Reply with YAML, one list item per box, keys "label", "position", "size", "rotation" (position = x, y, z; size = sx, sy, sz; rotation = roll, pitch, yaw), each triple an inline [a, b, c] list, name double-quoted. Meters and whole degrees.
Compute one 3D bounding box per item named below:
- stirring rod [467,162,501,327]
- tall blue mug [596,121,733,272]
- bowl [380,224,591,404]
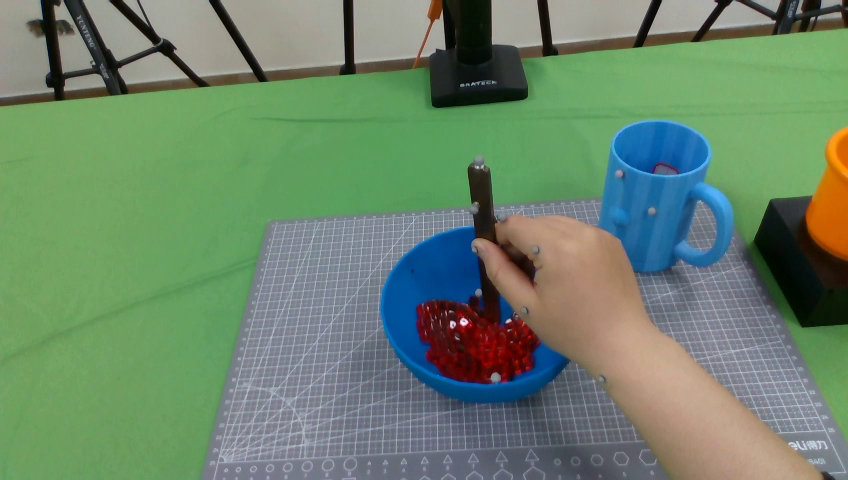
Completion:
- label: "stirring rod"
  position: [0.042, 0.012, 0.409]
  size: [0.014, 0.178, 0.006]
  rotation: [15, 56, 20]
- label: "tall blue mug"
  position: [0.206, -0.031, 0.514]
  size: [0.106, 0.109, 0.077]
  rotation: [17, 49, 22]
- label: "bowl"
  position: [0.046, 0.067, 0.458]
  size: [0.151, 0.077, 0.150]
  rotation: [-3, 45, 4]
